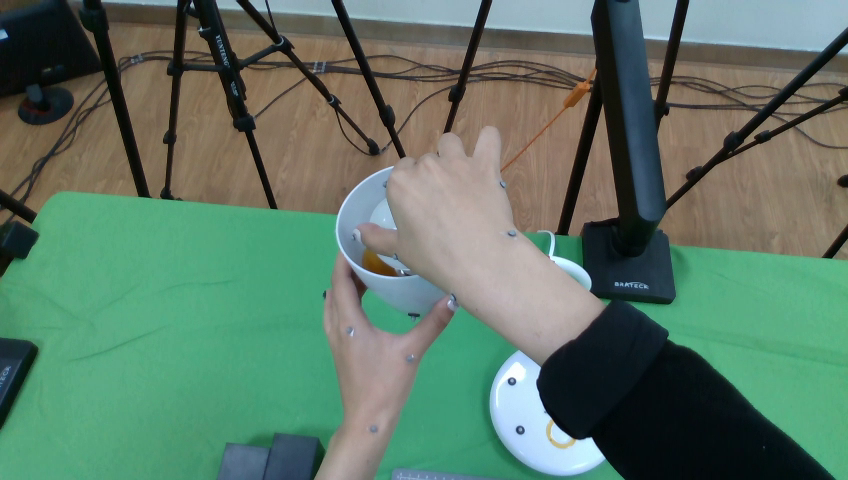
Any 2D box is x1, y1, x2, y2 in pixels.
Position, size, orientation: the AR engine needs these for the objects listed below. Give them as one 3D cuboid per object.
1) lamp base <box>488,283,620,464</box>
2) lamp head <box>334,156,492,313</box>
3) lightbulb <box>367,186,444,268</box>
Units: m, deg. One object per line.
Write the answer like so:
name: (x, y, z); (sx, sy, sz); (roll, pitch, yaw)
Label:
lamp base: (0.157, 0.141, 0.685); (0.161, 0.182, 0.177); (-6, 55, -4)
lamp head: (-0.002, 0.007, 0.510); (0.112, 0.124, 0.111); (-8, 56, 12)
lightbulb: (-0.011, -0.001, 0.488); (0.059, 0.108, 0.059); (-3, 63, 6)
